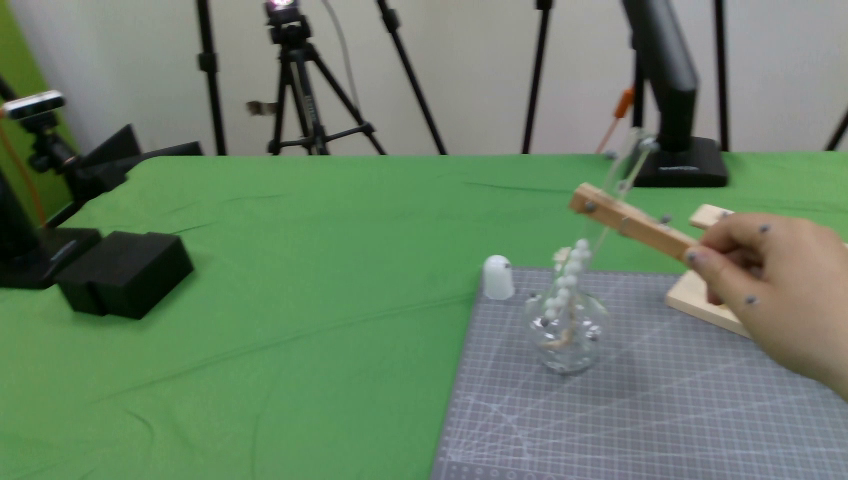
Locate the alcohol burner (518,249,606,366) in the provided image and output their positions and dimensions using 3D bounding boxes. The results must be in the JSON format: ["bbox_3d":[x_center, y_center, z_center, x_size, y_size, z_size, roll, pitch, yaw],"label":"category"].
[{"bbox_3d":[0.123,0.055,0.538,0.078,0.120,0.077,-4,36,4],"label":"alcohol burner"}]

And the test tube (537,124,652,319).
[{"bbox_3d":[0.109,-0.006,0.401,0.017,0.151,0.017,15,31,-8],"label":"test tube"}]

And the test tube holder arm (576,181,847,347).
[{"bbox_3d":[0.171,0.011,0.374,0.177,0.015,0.013,32,38,18],"label":"test tube holder arm"}]

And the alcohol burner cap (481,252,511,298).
[{"bbox_3d":[0.075,0.034,0.641,0.034,0.048,0.033,-5,36,4],"label":"alcohol burner cap"}]

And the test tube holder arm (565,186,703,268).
[{"bbox_3d":[0.132,-0.008,0.382,0.087,0.015,0.010,28,37,13],"label":"test tube holder arm"}]

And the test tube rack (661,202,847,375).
[{"bbox_3d":[0.340,0.050,0.525,0.240,0.086,0.067,24,46,38],"label":"test tube rack"}]
